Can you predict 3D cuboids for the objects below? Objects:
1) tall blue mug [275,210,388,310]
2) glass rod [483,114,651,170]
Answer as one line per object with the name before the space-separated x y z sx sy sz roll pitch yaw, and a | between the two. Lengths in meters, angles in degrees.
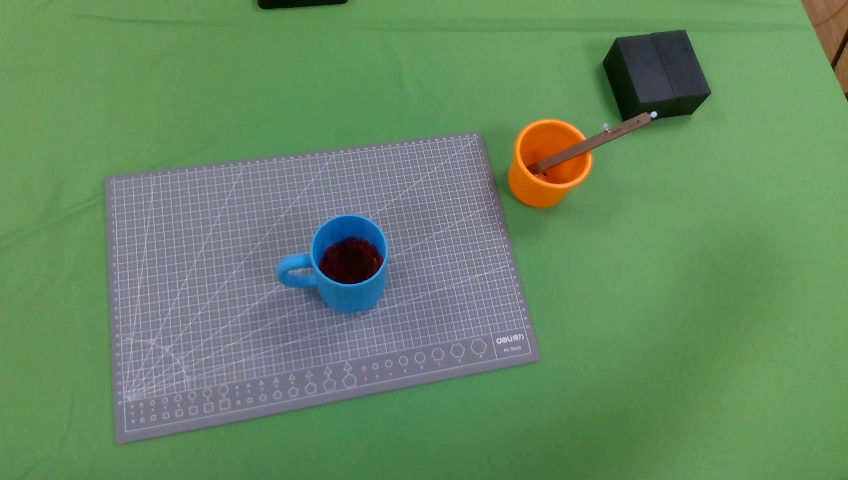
tall blue mug | -0.092 0.032 0.633 0.107 0.108 0.077 -32 77 -17
glass rod | 0.160 -0.112 0.703 0.199 0.008 0.008 -15 68 25
